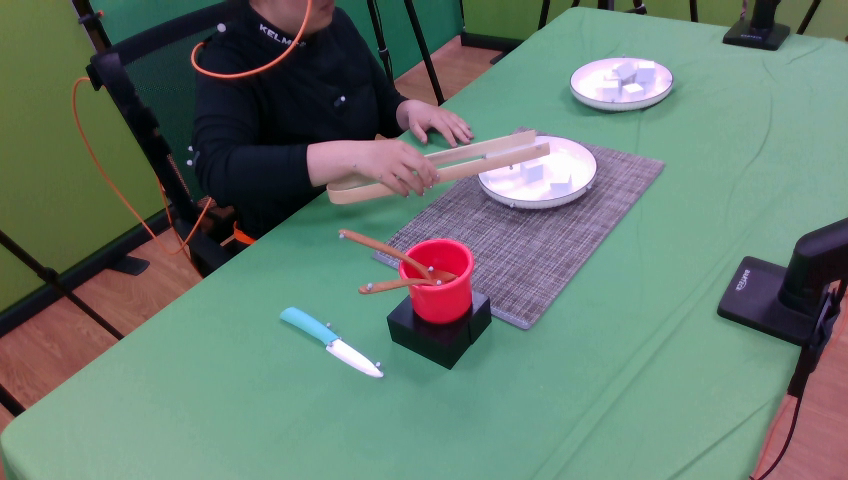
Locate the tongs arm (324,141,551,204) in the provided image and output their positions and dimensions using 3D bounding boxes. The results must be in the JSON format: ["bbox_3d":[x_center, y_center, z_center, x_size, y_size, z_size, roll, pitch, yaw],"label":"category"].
[{"bbox_3d":[0.026,-0.118,1.020,0.386,0.026,0.050,-15,34,-9],"label":"tongs arm"}]

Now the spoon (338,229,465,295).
[{"bbox_3d":[-0.025,0.026,0.776,0.021,0.195,0.041,-41,34,32],"label":"spoon"}]

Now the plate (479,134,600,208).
[{"bbox_3d":[0.202,-0.117,1.065,0.207,0.039,0.206,-5,40,5],"label":"plate"}]

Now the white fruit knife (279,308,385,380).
[{"bbox_3d":[-0.130,0.143,0.845,0.205,0.016,0.027,25,79,32],"label":"white fruit knife"}]

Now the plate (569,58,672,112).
[{"bbox_3d":[0.411,-0.323,1.274,0.209,0.038,0.208,-5,41,5],"label":"plate"}]

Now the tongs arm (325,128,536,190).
[{"bbox_3d":[0.016,-0.138,1.054,0.389,0.028,0.028,-16,38,-10],"label":"tongs arm"}]

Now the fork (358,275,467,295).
[{"bbox_3d":[-0.009,0.056,0.739,0.028,0.018,0.209,48,23,26],"label":"fork"}]
